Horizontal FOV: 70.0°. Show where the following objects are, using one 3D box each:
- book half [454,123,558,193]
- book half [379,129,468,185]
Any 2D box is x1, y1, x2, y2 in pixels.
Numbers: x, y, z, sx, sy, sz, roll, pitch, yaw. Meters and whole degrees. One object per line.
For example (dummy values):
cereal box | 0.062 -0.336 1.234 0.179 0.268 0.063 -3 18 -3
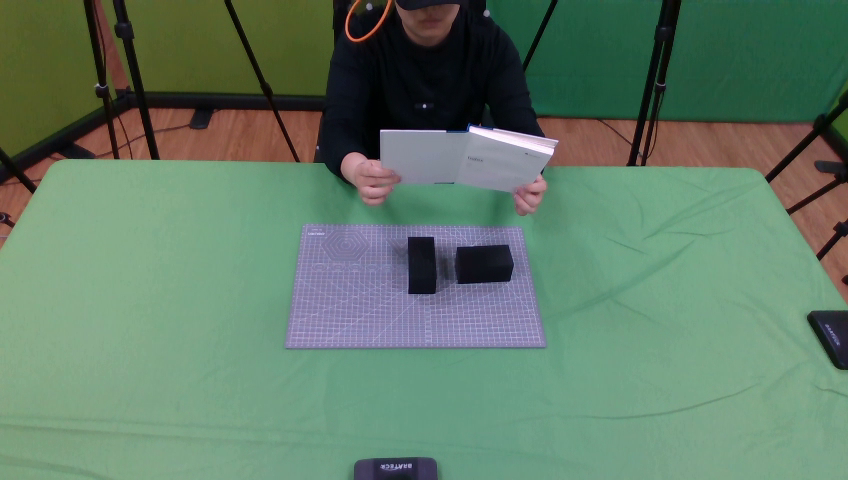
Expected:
book half | 0.136 -0.136 1.066 0.149 0.211 0.016 10 71 -1
book half | -0.006 -0.140 1.057 0.143 0.210 0.007 -1 72 -5
